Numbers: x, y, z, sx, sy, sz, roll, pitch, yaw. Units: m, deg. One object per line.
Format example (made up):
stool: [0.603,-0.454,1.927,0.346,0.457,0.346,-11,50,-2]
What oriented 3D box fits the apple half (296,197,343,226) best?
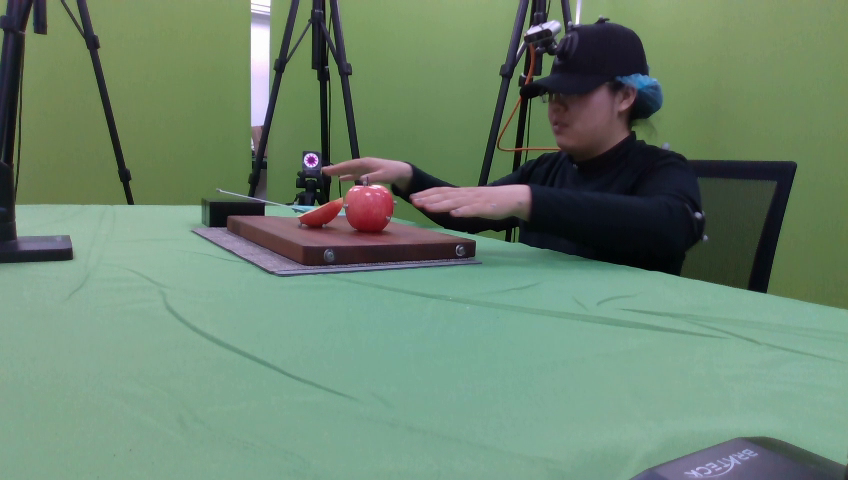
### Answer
apple half: [-0.163,-0.041,0.979,0.081,0.033,0.081,-21,7,3]

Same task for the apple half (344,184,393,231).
apple half: [-0.079,-0.049,0.947,0.053,0.074,0.081,15,10,41]

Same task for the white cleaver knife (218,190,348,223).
white cleaver knife: [-0.275,-0.066,1.233,0.288,0.021,0.065,11,6,-29]
